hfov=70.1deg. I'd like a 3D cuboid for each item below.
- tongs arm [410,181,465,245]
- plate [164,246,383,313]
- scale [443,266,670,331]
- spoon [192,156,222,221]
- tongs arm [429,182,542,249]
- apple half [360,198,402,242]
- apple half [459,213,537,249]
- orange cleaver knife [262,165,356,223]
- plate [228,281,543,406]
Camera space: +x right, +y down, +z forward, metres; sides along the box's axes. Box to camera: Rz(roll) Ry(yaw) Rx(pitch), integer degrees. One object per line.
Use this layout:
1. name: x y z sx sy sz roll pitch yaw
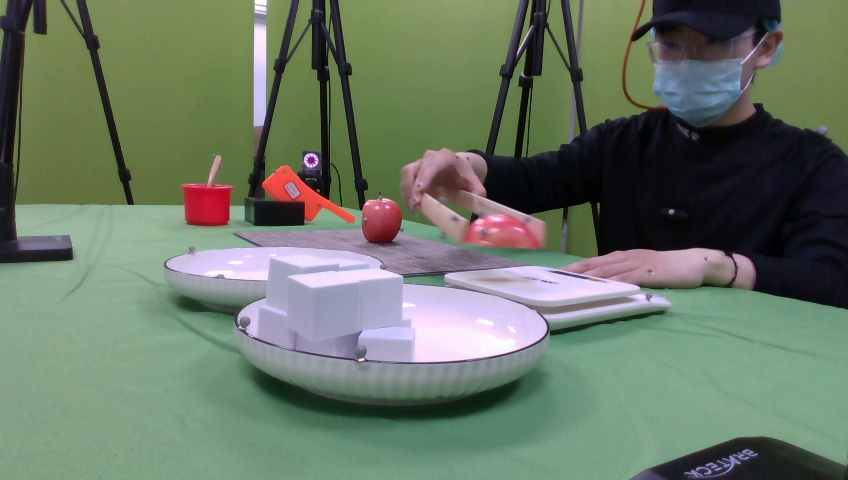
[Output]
1. tongs arm: 0.020 -0.042 0.744 0.051 0.026 0.383 1 11 -11
2. plate: -0.145 0.038 0.600 0.209 0.038 0.209 2 7 0
3. scale: 0.131 0.052 0.603 0.202 0.031 0.148 -2 9 -37
4. spoon: -0.430 -0.108 1.222 0.041 0.021 0.193 -2 52 1
5. tongs arm: 0.064 -0.040 0.753 0.028 0.028 0.386 -3 12 -13
6. apple half: -0.066 -0.032 1.014 0.053 0.074 0.081 9 6 21
7. apple half: 0.068 -0.010 0.577 0.081 0.033 0.081 4 4 0
8. orange cleaver knife: -0.243 -0.081 1.292 0.212 0.077 0.012 34 -8 -26
9. plate: -0.025 0.067 0.413 0.208 0.039 0.207 3 7 0
